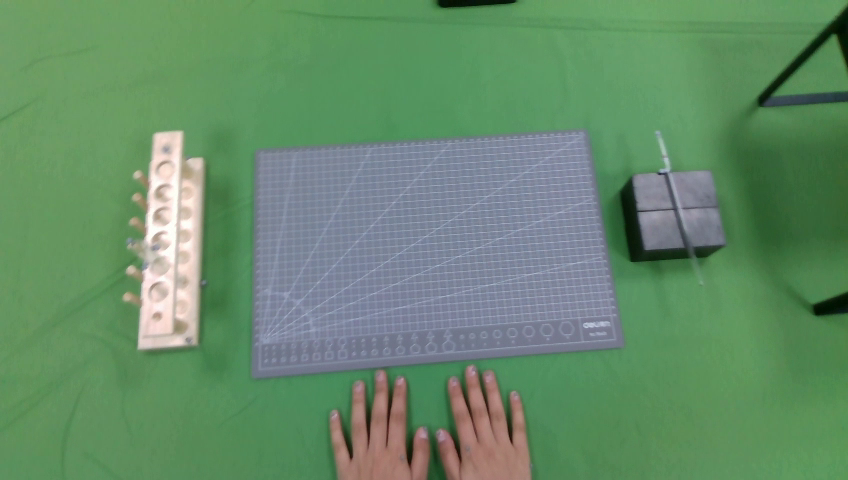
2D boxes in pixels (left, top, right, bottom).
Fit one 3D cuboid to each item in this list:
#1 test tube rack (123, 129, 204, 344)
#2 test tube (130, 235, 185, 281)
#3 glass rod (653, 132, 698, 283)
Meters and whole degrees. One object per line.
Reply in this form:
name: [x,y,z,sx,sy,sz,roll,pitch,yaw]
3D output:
test tube rack: [-0.314,-0.004,0.724,0.067,0.085,0.241,-4,73,-2]
test tube: [-0.289,0.023,0.664,0.017,0.151,0.017,2,73,-6]
glass rod: [0.307,-0.043,0.742,0.008,0.008,0.198,-7,73,-3]
